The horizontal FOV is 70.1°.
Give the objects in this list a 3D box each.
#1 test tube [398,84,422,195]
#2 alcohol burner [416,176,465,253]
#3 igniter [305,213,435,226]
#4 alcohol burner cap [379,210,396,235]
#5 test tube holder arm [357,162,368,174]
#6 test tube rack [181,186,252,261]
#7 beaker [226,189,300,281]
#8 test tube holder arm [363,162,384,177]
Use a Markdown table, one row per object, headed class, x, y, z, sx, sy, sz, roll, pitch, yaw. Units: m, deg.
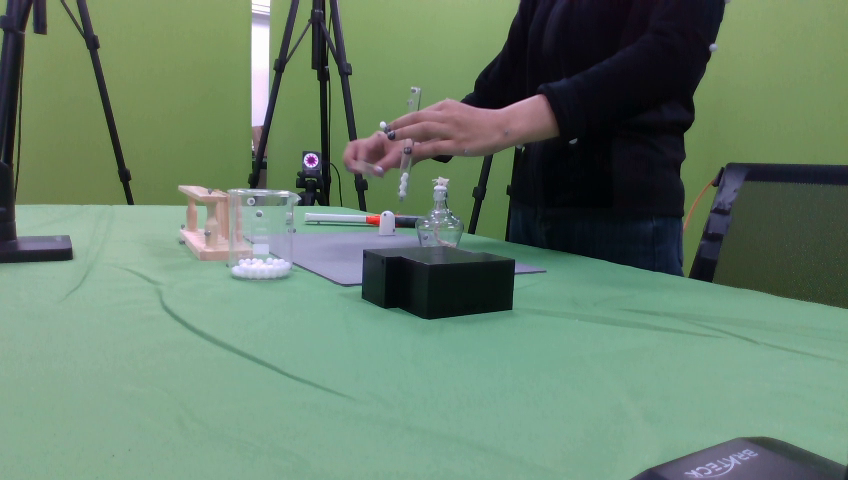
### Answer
| class | x | y | z | sx | sy | sz | roll | pitch | yaw |
| --- | --- | --- | --- | --- | --- | --- | --- | --- | --- |
| test tube | -0.020 | -0.136 | 0.827 | 0.017 | 0.150 | 0.017 | 8 | 11 | -1 |
| alcohol burner | 0.026 | -0.040 | 0.935 | 0.078 | 0.119 | 0.078 | 1 | 6 | 0 |
| igniter | -0.114 | -0.046 | 1.296 | 0.277 | 0.025 | 0.057 | 1 | -2 | -11 |
| alcohol burner cap | -0.067 | -0.033 | 1.130 | 0.034 | 0.048 | 0.034 | 1 | 8 | 0 |
| test tube holder arm | -0.092 | -0.113 | 0.952 | 0.010 | 0.015 | 0.088 | 6 | 3 | 5 |
| test tube rack | -0.312 | -0.031 | 0.893 | 0.067 | 0.085 | 0.241 | -1 | 8 | -27 |
| beaker | -0.184 | -0.007 | 0.694 | 0.084 | 0.100 | 0.073 | -1 | 8 | -29 |
| test tube holder arm | -0.083 | -0.115 | 0.997 | 0.013 | 0.015 | 0.178 | 6 | 3 | 5 |
